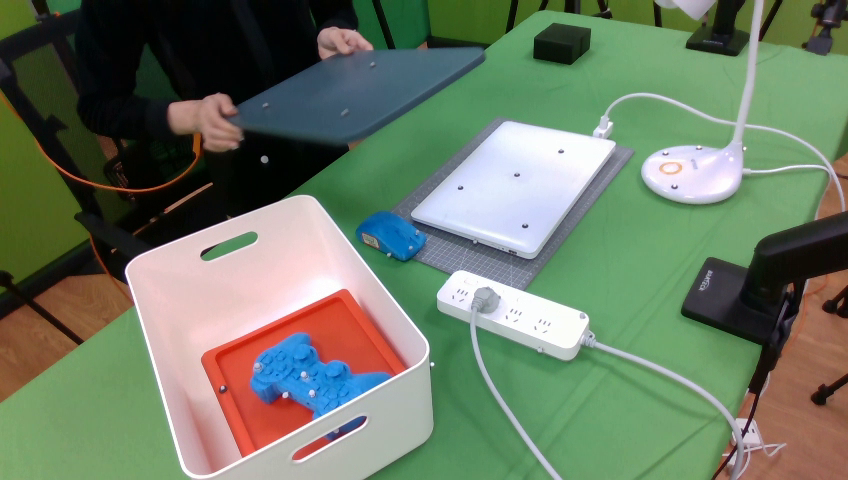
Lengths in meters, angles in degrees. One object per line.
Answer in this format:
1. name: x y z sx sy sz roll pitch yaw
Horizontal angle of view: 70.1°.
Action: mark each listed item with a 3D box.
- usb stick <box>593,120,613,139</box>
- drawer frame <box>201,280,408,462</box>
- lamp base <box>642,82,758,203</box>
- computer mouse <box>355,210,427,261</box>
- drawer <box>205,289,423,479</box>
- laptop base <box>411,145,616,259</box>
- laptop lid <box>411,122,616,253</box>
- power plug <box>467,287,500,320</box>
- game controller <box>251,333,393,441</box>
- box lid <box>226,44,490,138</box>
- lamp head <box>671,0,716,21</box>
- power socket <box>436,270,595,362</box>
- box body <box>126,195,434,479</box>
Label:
1. usb stick: 0.336 -0.201 1.146 0.021 0.027 0.059 25 52 27
2. drawer frame: -0.131 0.176 0.729 0.202 0.083 0.211 -27 50 -19
3. lamp base: 0.464 -0.174 0.992 0.179 0.181 0.159 -5 41 -1
4. computer mouse: -0.055 -0.010 0.980 0.116 0.041 0.063 27 50 29
5. drawer: -0.134 0.189 0.743 0.195 0.073 0.210 -25 54 -21
6. laptop base: 0.168 -0.102 1.073 0.234 0.023 0.355 17 46 30
7. laptop lid: 0.165 -0.111 1.067 0.240 0.013 0.357 19 46 31
8. power plug: 0.073 0.092 0.814 0.035 0.053 0.073 29 54 34
9. game controller: -0.120 0.155 0.676 0.154 0.052 0.097 20 51 28
10. box lid: -0.109 -0.223 0.884 0.368 0.015 0.264 15 45 45
11. lamp head: 0.375 -0.373 0.807 0.122 0.113 0.112 -40 27 32
12. power socket: 0.119 0.101 0.832 0.225 0.033 0.072 19 48 27
13. box body: -0.175 0.131 0.737 0.255 0.161 0.360 -25 43 -19
